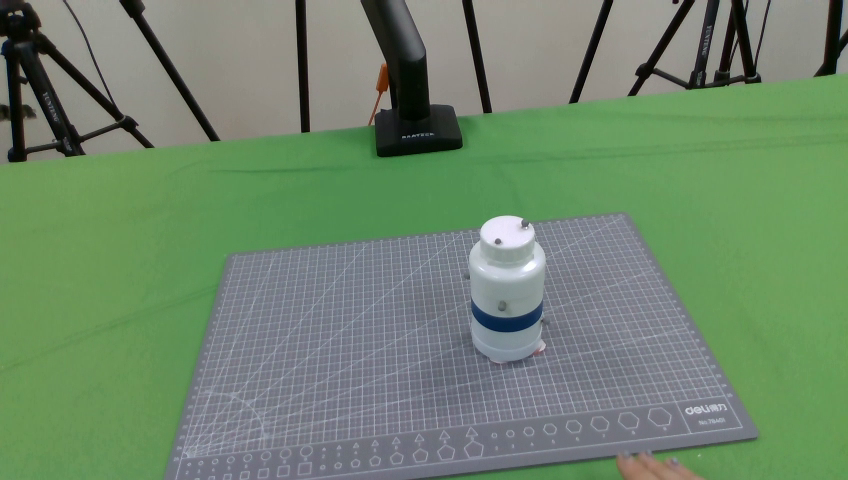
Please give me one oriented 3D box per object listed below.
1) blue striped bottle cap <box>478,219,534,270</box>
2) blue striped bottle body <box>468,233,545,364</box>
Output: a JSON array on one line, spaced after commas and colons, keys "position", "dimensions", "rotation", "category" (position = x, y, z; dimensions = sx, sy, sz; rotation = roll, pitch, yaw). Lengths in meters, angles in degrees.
[{"position": [0.065, 0.003, 0.480], "dimensions": [0.044, 0.021, 0.044], "rotation": [-2, 38, 2], "category": "blue striped bottle cap"}, {"position": [0.069, 0.043, 0.511], "dimensions": [0.063, 0.122, 0.062], "rotation": [-3, 38, 3], "category": "blue striped bottle body"}]
